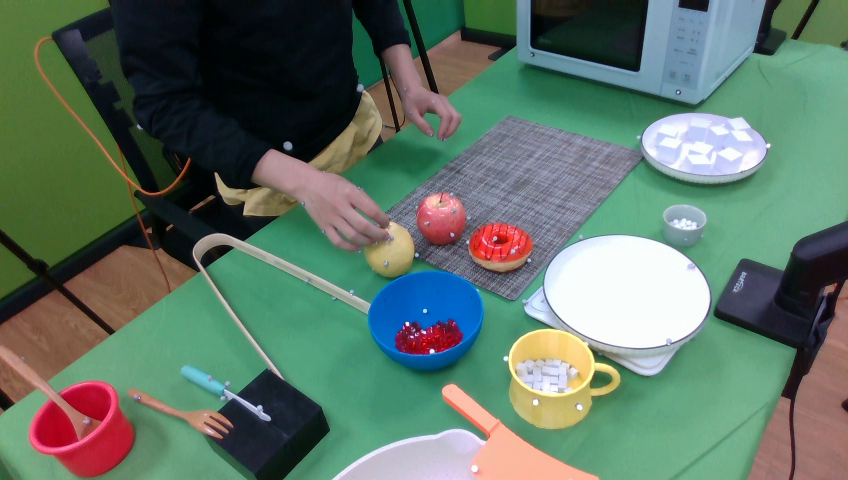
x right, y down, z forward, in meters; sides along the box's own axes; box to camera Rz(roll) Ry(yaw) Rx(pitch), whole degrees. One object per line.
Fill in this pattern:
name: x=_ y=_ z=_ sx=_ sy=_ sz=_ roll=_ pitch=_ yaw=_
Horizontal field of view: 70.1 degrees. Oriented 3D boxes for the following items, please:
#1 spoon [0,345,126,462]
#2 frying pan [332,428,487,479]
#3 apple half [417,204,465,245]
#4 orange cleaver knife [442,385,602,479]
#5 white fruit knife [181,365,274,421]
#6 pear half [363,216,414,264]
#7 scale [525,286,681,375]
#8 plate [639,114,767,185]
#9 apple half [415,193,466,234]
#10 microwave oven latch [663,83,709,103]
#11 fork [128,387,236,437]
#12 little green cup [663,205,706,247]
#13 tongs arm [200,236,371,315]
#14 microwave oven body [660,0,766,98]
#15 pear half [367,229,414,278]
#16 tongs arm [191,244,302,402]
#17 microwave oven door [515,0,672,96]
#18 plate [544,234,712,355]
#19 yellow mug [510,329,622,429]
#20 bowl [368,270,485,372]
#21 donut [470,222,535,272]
spoon: x=-0.434 y=0.191 z=0.720 sx=0.194 sy=0.021 sz=0.042 roll=47 pitch=53 yaw=-7
frying pan: x=-0.089 y=0.306 z=0.564 sx=0.487 sy=0.103 sz=0.306 roll=9 pitch=41 yaw=7
apple half: x=0.027 y=-0.018 z=0.944 sx=0.081 sy=0.081 sz=0.032 roll=-3 pitch=38 yaw=6
orange cleaver knife: x=0.086 y=0.219 z=0.612 sx=0.209 sy=0.012 sz=0.077 roll=28 pitch=49 yaw=35
white fruit knife: x=-0.246 y=0.187 z=0.747 sx=0.205 sy=0.027 sz=0.016 roll=9 pitch=41 yaw=40
pear half: x=-0.056 y=-0.004 z=0.907 sx=0.076 sy=0.110 sz=0.055 roll=-12 pitch=46 yaw=-11
scale: x=0.254 y=0.091 z=0.821 sx=0.199 sy=0.032 sz=0.149 roll=28 pitch=51 yaw=35
plate: x=0.489 y=-0.157 z=1.074 sx=0.207 sy=0.039 sz=0.206 roll=-4 pitch=40 yaw=4
apple half: x=0.028 y=-0.042 z=0.974 sx=0.081 sy=0.075 sz=0.053 roll=-5 pitch=37 yaw=8
microwave oven latch: x=0.520 y=-0.297 z=1.205 sx=0.030 sy=0.029 sz=0.078 roll=-34 pitch=46 yaw=-27
fork: x=-0.305 y=0.207 z=0.744 sx=0.206 sy=0.019 sz=0.028 roll=3 pitch=40 yaw=36
little green cup: x=0.396 y=-0.020 z=0.926 sx=0.061 sy=0.039 sz=0.061 roll=-4 pitch=40 yaw=4
tongs arm: x=-0.209 y=0.062 z=0.924 sx=0.381 sy=0.026 sz=0.051 roll=22 pitch=51 yaw=32
microwave oven body: x=0.472 y=-0.513 z=1.317 sx=0.438 sy=0.261 sz=0.327 roll=26 pitch=51 yaw=34
pear half: x=-0.047 y=0.026 z=0.889 sx=0.071 sy=0.088 sz=0.031 roll=-13 pitch=44 yaw=-12
tongs arm: x=-0.269 y=0.108 z=0.881 sx=0.028 sy=0.028 sz=0.384 roll=-35 pitch=45 yaw=-19
microwave oven door: x=0.343 y=-0.454 z=1.259 sx=0.353 sy=0.245 sz=0.039 roll=26 pitch=51 yaw=33
plate: x=0.262 y=0.072 z=0.792 sx=0.209 sy=0.038 sz=0.208 roll=-4 pitch=41 yaw=4
yellow mug: x=0.168 y=0.164 z=0.721 sx=0.130 sy=0.064 sz=0.099 roll=0 pitch=40 yaw=8
bowl: x=0.007 y=0.118 z=0.791 sx=0.151 sy=0.077 sz=0.150 roll=-5 pitch=40 yaw=4
donut: x=0.119 y=0.009 z=0.923 sx=0.099 sy=0.048 sz=0.098 roll=-3 pitch=39 yaw=3
